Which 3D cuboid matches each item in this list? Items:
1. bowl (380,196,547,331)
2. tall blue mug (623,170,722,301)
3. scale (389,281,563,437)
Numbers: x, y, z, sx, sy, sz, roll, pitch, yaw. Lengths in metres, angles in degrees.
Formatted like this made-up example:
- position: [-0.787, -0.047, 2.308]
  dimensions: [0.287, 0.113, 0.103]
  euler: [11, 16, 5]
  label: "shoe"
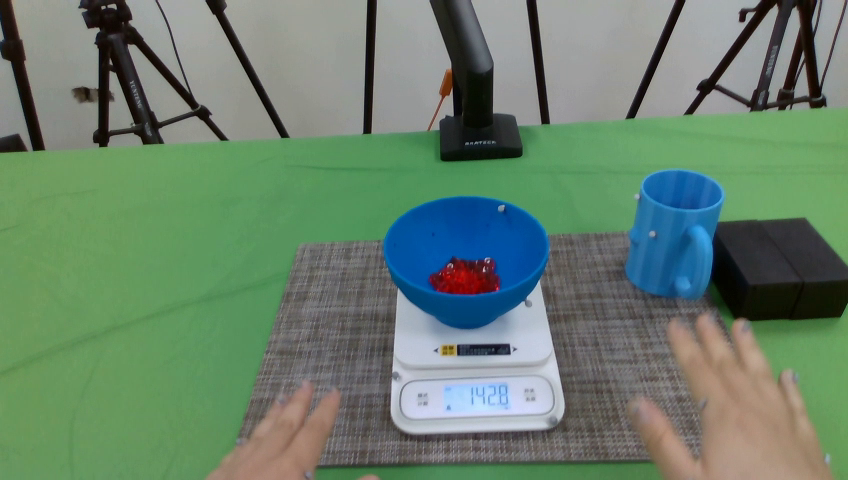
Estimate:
- position: [0.037, 0.032, 0.567]
  dimensions: [0.151, 0.077, 0.150]
  euler: [-2, 38, 2]
  label: "bowl"
- position: [0.257, 0.002, 0.607]
  dimensions: [0.078, 0.109, 0.106]
  euler: [-22, 41, -23]
  label: "tall blue mug"
- position: [0.044, 0.093, 0.575]
  dimensions: [0.148, 0.032, 0.199]
  euler: [-3, 38, 3]
  label: "scale"
